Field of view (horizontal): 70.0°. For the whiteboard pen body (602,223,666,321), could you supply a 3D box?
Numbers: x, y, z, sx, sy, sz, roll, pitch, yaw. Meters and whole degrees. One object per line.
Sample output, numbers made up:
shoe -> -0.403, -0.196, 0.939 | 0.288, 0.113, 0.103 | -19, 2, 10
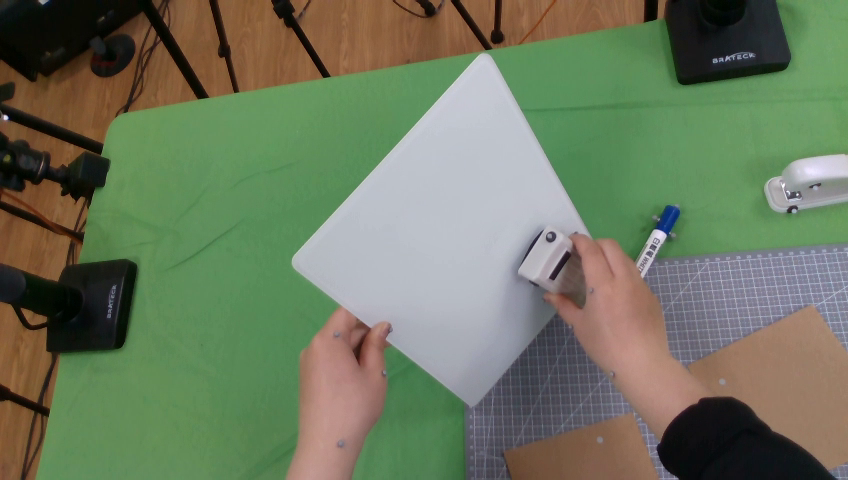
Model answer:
whiteboard pen body -> 0.227, 0.023, 0.639 | 0.017, 0.017, 0.140 | 29, 80, 23

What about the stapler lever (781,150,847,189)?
stapler lever -> 0.417, -0.075, 0.597 | 0.118, 0.040, 0.026 | -11, 70, 11

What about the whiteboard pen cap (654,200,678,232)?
whiteboard pen cap -> 0.259, -0.025, 0.648 | 0.018, 0.018, 0.033 | 25, 77, 23

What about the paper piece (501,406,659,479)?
paper piece -> 0.158, 0.244, 0.581 | 0.135, 0.004, 0.134 | -19, 65, 7

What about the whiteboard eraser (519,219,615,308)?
whiteboard eraser -> 0.140, 0.024, 0.597 | 0.055, 0.114, 0.041 | -55, 43, 6

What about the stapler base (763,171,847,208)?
stapler base -> 0.421, -0.066, 0.619 | 0.130, 0.024, 0.041 | -11, 70, 10

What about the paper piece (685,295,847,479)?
paper piece -> 0.343, 0.142, 0.568 | 0.136, 0.009, 0.137 | -28, 67, 9

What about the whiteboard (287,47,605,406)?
whiteboard -> 0.013, -0.013, 0.591 | 0.217, 0.309, 0.142 | -47, 44, -4
